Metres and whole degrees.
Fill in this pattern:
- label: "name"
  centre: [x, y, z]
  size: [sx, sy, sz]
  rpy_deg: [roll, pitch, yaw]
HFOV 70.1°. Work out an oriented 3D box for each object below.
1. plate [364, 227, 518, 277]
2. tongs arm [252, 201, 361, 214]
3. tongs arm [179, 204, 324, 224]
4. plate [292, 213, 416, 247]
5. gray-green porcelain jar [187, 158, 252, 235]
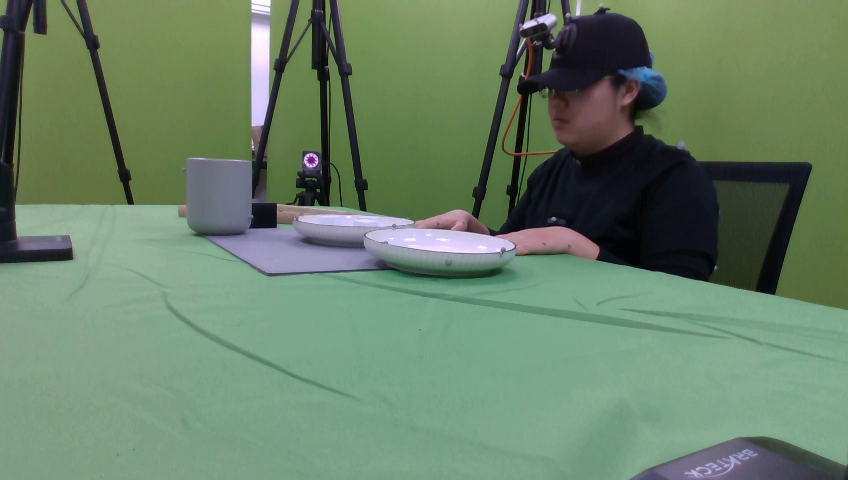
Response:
- label: "plate"
  centre: [0.022, 0.016, 0.817]
  size: [0.209, 0.038, 0.209]
  rpy_deg: [3, 9, 0]
- label: "tongs arm"
  centre: [-0.306, -0.064, 1.349]
  size: [0.384, 0.026, 0.051]
  rpy_deg: [6, 8, 19]
- label: "tongs arm"
  centre: [-0.329, -0.052, 1.271]
  size: [0.387, 0.028, 0.028]
  rpy_deg: [4, 5, 6]
- label: "plate"
  centre: [-0.118, -0.017, 1.024]
  size: [0.208, 0.039, 0.207]
  rpy_deg: [2, 7, 0]
- label: "gray-green porcelain jar"
  centre: [-0.350, -0.075, 1.036]
  size: [0.106, 0.126, 0.106]
  rpy_deg: [3, 8, 0]
